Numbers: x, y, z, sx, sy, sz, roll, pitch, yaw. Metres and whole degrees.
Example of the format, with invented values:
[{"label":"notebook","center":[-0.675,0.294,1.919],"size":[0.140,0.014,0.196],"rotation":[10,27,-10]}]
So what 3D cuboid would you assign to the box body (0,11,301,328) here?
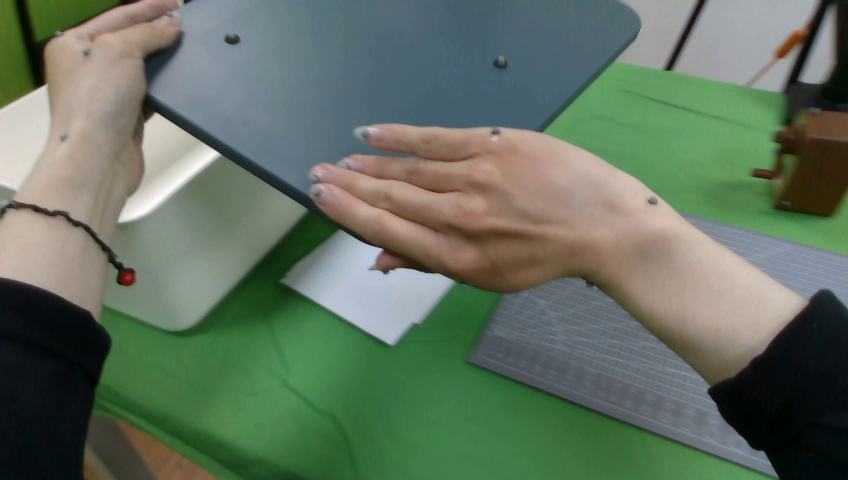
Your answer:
[{"label":"box body","center":[-0.268,-0.099,0.676],"size":[0.253,0.162,0.362],"rotation":[17,46,18]}]

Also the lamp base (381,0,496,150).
[{"label":"lamp base","center":[0.018,-0.240,0.806],"size":[0.161,0.182,0.177],"rotation":[-5,41,-3]}]

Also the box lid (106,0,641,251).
[{"label":"box lid","center":[-0.012,-0.155,0.464],"size":[0.262,0.015,0.370],"rotation":[32,52,17]}]

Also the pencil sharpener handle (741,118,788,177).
[{"label":"pencil sharpener handle","center":[0.386,-0.106,0.689],"size":[0.030,0.068,0.036],"rotation":[9,23,12]}]

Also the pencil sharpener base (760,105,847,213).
[{"label":"pencil sharpener base","center":[0.437,-0.092,0.692],"size":[0.076,0.108,0.061],"rotation":[9,45,12]}]
